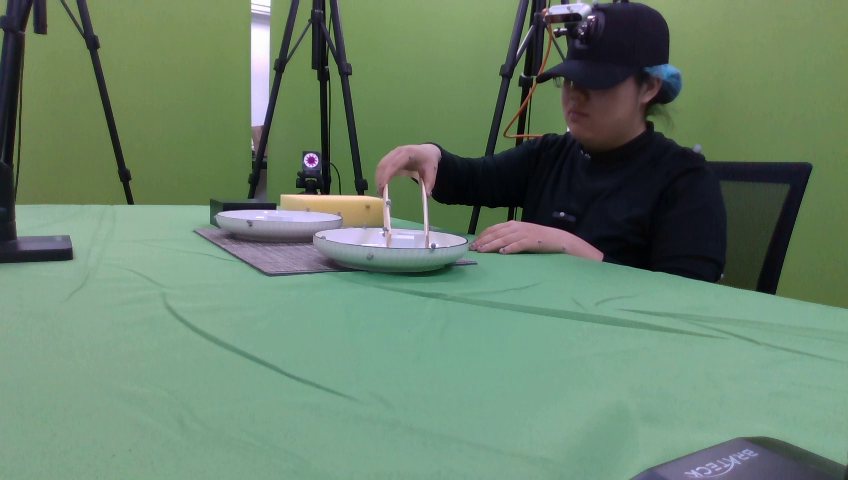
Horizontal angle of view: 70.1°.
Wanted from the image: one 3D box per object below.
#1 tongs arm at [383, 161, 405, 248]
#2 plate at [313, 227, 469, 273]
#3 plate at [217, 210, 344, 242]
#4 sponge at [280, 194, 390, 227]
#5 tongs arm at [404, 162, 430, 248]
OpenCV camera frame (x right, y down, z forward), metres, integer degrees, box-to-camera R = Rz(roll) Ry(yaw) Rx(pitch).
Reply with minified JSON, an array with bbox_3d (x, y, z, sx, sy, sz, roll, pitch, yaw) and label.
[{"bbox_3d":[-0.040,-0.065,0.939,0.051,0.026,0.384,2,21,-7],"label":"tongs arm"},{"bbox_3d":[-0.044,0.012,0.807,0.209,0.038,0.209,2,7,0],"label":"plate"},{"bbox_3d":[-0.241,-0.024,1.026,0.208,0.039,0.207,3,7,0],"label":"plate"},{"bbox_3d":[-0.188,-0.063,1.291,0.208,0.061,0.117,-2,9,-35],"label":"sponge"},{"bbox_3d":[-0.010,-0.063,0.942,0.028,0.028,0.386,0,21,-4],"label":"tongs arm"}]
